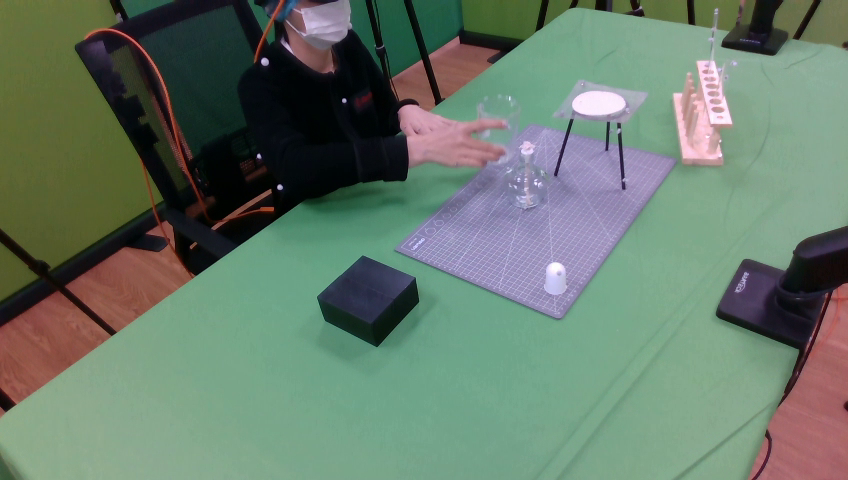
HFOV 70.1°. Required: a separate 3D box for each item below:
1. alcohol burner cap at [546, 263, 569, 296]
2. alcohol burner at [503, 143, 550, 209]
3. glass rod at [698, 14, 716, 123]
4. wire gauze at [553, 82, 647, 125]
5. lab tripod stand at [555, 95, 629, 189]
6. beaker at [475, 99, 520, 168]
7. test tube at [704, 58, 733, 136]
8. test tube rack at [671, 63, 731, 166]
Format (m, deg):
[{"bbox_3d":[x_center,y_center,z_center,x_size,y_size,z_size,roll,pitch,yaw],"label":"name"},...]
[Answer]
[{"bbox_3d":[0.191,0.053,0.862,0.034,0.048,0.033,-5,40,4],"label":"alcohol burner cap"},{"bbox_3d":[0.171,-0.111,1.006,0.078,0.119,0.077,-3,41,3],"label":"alcohol burner"},{"bbox_3d":[0.532,-0.320,1.136,0.008,0.200,0.008,3,12,0],"label":"glass rod"},{"bbox_3d":[0.293,-0.225,1.002,0.120,0.011,0.125,17,45,27],"label":"wire gauze"},{"bbox_3d":[0.300,-0.174,1.045,0.148,0.132,0.147,-5,38,5],"label":"lab tripod stand"},{"bbox_3d":[0.128,-0.184,1.050,0.084,0.100,0.073,-31,49,-31],"label":"beaker"},{"bbox_3d":[0.516,-0.247,1.062,0.017,0.151,0.017,-3,43,4],"label":"test tube"},{"bbox_3d":[0.513,-0.241,1.132,0.066,0.085,0.242,4,41,14],"label":"test tube rack"}]
